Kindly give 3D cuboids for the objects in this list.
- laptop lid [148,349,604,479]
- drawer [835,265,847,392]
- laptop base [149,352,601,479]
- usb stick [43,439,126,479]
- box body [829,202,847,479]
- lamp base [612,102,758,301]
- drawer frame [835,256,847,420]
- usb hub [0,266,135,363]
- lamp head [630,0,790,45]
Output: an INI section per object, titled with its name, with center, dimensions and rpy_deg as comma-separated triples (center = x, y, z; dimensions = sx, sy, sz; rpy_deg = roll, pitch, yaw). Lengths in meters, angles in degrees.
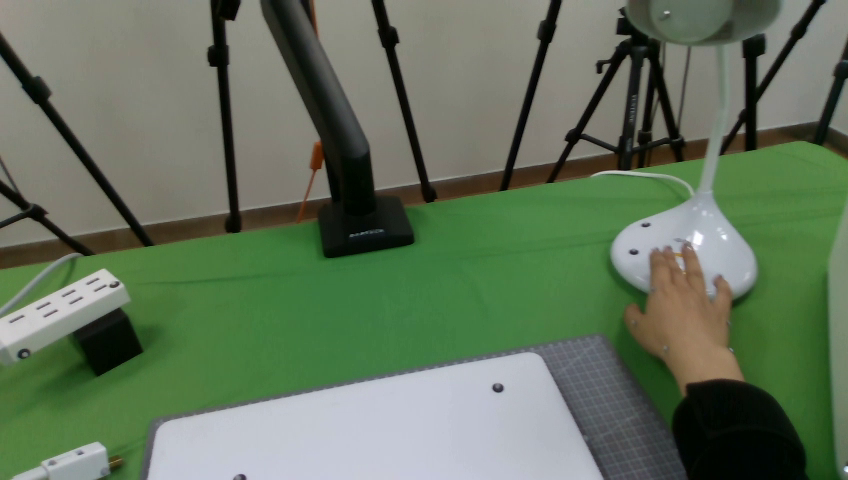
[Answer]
[laptop lid]
center = -0.039, 0.196, 0.465
dimensions = 0.357, 0.013, 0.239
rpy_deg = -8, 36, -6
[drawer]
center = 0.475, 0.105, 0.513
dimensions = 0.193, 0.074, 0.211
rpy_deg = 11, 34, 23
[laptop base]
center = -0.039, 0.204, 0.474
dimensions = 0.355, 0.023, 0.233
rpy_deg = -9, 38, -8
[usb stick]
center = -0.284, 0.186, 0.509
dimensions = 0.021, 0.027, 0.059
rpy_deg = 3, 7, 43
[box body]
center = 0.494, 0.070, 0.496
dimensions = 0.252, 0.162, 0.363
rpy_deg = 13, 38, 24
[lamp base]
center = 0.305, -0.052, 0.678
dimensions = 0.159, 0.182, 0.178
rpy_deg = 13, 36, 24
[drawer frame]
center = 0.476, 0.101, 0.513
dimensions = 0.200, 0.083, 0.213
rpy_deg = 12, 35, 23
[usb hub]
center = -0.362, 0.072, 0.607
dimensions = 0.049, 0.025, 0.125
rpy_deg = 26, 45, 34
[lamp head]
center = 0.226, -0.228, 0.468
dimensions = 0.112, 0.113, 0.122
rpy_deg = 10, 76, 20
